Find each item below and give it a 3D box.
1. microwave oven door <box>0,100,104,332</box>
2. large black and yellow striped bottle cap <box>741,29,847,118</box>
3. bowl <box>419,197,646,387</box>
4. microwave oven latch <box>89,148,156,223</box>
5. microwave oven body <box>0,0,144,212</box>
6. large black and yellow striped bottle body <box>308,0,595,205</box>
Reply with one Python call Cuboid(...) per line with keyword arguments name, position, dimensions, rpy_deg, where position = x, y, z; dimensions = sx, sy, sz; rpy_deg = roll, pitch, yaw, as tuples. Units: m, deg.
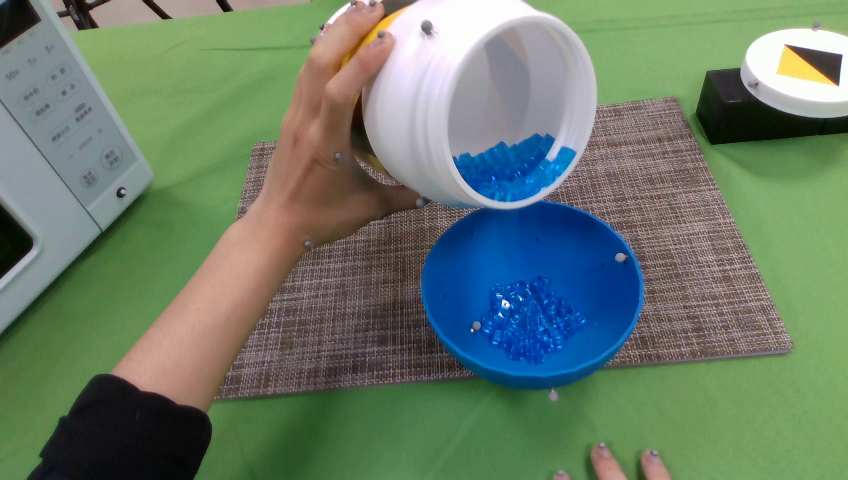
Cuboid(name="microwave oven door", position=(-0.406, 0.036, 0.392), dimensions=(0.039, 0.246, 0.354), rpy_deg=(17, 55, 21))
Cuboid(name="large black and yellow striped bottle cap", position=(0.352, -0.154, 0.551), dimensions=(0.115, 0.019, 0.114), rpy_deg=(-5, 49, 6))
Cuboid(name="bowl", position=(0.075, 0.049, 0.440), dimensions=(0.151, 0.077, 0.150), rpy_deg=(-4, 50, 5))
Cuboid(name="microwave oven latch", position=(-0.297, -0.055, 0.587), dimensions=(0.030, 0.030, 0.079), rpy_deg=(19, 56, 21))
Cuboid(name="microwave oven body", position=(-0.517, -0.030, 0.469), dimensions=(0.324, 0.263, 0.439), rpy_deg=(17, 55, 20))
Cuboid(name="large black and yellow striped bottle body", position=(0.011, -0.098, 0.408), dimensions=(0.131, 0.132, 0.182), rpy_deg=(-31, 32, -17))
